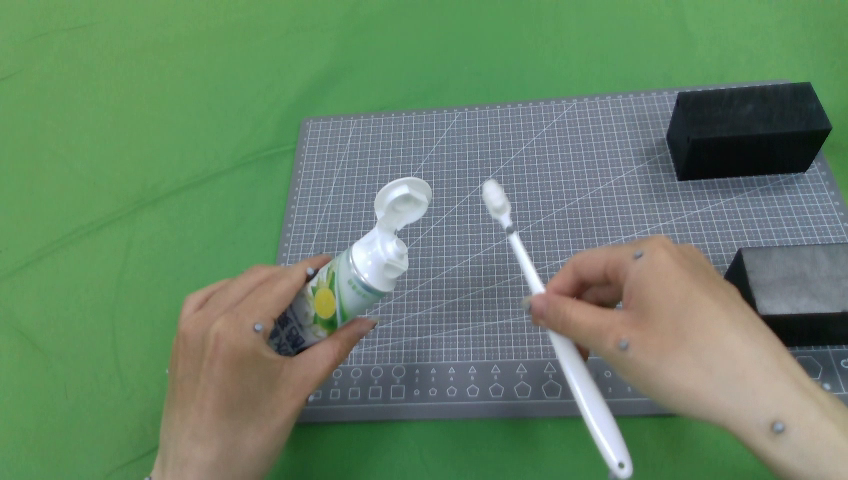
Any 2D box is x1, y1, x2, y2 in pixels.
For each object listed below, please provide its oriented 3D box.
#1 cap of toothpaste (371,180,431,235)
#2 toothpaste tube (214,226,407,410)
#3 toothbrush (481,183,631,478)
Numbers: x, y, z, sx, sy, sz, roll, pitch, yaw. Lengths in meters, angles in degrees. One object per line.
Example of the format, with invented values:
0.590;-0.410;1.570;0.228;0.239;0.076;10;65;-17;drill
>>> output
-0.012;-0.018;0.346;0.037;0.038;0.011;-21;50;-5;cap of toothpaste
-0.072;0.045;0.373;0.165;0.035;0.054;-38;72;25;toothpaste tube
0.071;0.044;0.342;0.014;0.017;0.180;-24;69;3;toothbrush
